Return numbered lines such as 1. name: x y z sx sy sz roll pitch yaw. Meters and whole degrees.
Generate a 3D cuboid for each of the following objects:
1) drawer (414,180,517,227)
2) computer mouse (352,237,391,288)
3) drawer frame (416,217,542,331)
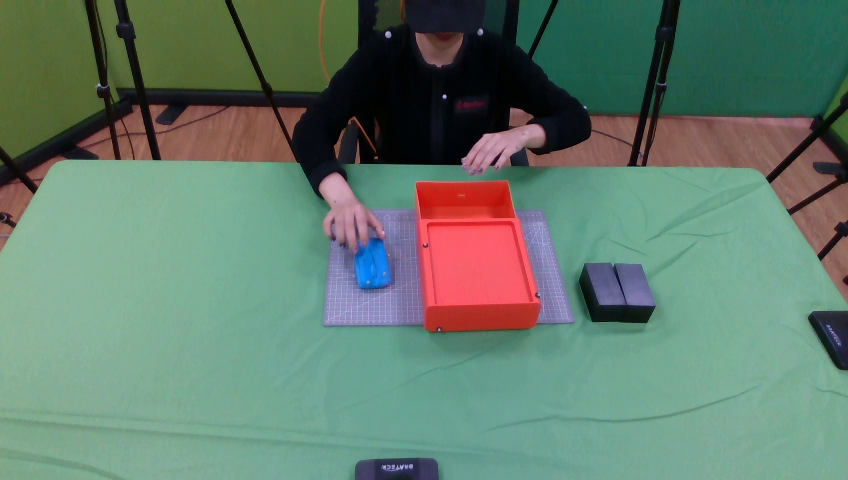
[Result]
1. drawer: 0.085 -0.024 1.186 0.195 0.073 0.210 -1 47 -6
2. computer mouse: -0.100 0.039 1.139 0.063 0.041 0.116 -4 51 -11
3. drawer frame: 0.092 0.056 1.105 0.202 0.083 0.212 -1 47 -6
